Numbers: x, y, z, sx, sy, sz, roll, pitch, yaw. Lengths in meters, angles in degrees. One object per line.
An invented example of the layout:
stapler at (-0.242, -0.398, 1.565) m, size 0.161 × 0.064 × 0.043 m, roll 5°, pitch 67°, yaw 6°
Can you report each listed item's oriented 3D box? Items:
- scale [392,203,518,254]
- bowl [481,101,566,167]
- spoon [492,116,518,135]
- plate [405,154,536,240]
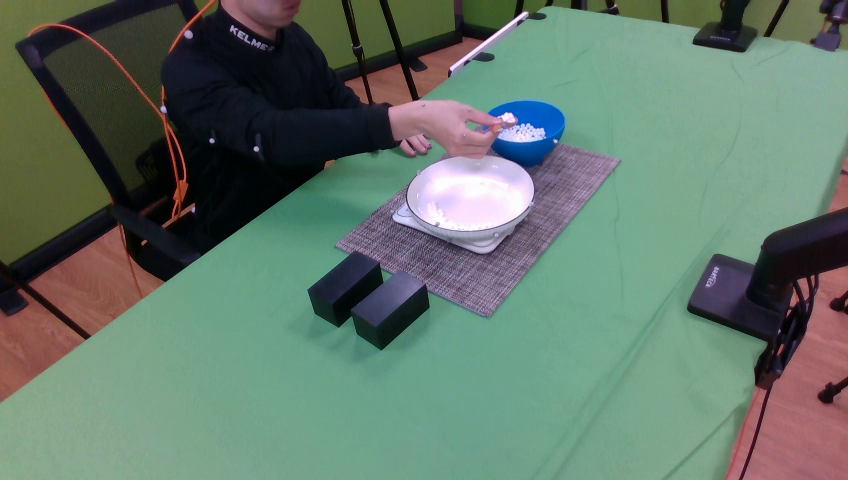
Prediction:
scale at (0.061, -0.051, 1.006) m, size 0.199 × 0.032 × 0.149 m, roll 22°, pitch 48°, yaw 30°
bowl at (0.183, -0.186, 1.111) m, size 0.151 × 0.077 × 0.150 m, roll -4°, pitch 40°, yaw 4°
spoon at (0.127, -0.190, 0.996) m, size 0.041 × 0.021 × 0.194 m, roll -3°, pitch 12°, yaw 16°
plate at (0.075, -0.067, 0.973) m, size 0.209 × 0.038 × 0.208 m, roll -4°, pitch 41°, yaw 4°
